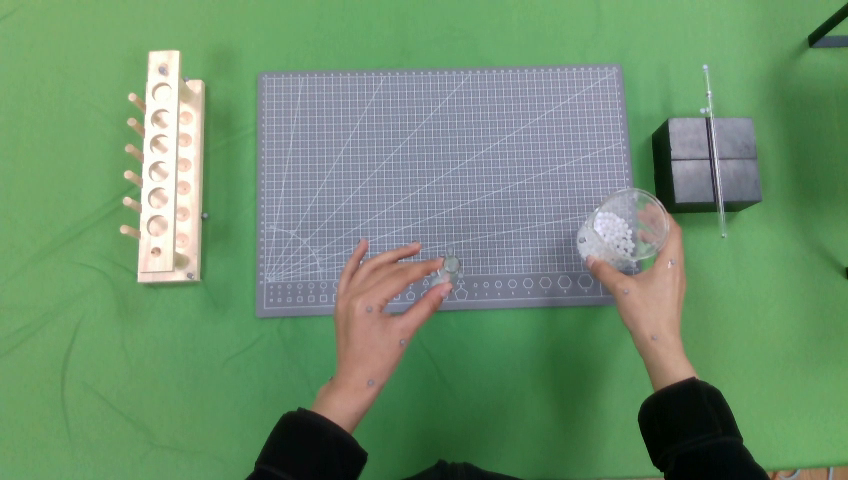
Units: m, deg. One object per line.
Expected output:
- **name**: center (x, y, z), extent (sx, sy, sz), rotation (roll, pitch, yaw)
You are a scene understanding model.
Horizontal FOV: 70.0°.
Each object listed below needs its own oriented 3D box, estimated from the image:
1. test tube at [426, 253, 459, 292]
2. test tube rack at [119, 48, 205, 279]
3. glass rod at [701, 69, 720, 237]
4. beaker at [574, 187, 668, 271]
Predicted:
- **test tube**: center (0.015, 0.033, 0.566), extent (0.017, 0.150, 0.017), rotation (1, 78, -4)
- **test tube rack**: center (-0.295, -0.082, 0.677), extent (0.067, 0.085, 0.241), rotation (-2, 80, -2)
- **glass rod**: center (0.326, -0.101, 0.691), extent (0.008, 0.008, 0.199), rotation (0, 80, -1)
- **beaker**: center (0.204, -0.007, 0.653), extent (0.084, 0.100, 0.073), rotation (1, 78, 1)
